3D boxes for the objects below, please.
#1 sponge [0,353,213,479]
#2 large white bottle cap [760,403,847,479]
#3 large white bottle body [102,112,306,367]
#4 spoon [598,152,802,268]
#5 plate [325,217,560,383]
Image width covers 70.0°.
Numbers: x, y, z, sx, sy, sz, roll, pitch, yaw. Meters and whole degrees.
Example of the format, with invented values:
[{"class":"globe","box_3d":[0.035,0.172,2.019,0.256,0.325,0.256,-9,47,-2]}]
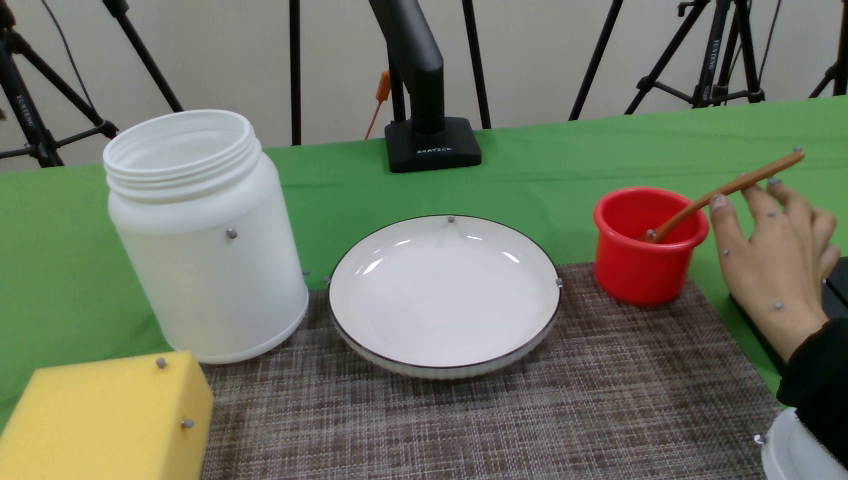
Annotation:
[{"class":"sponge","box_3d":[-0.217,0.173,0.387,0.118,0.061,0.204,-8,37,-3]},{"class":"large white bottle cap","box_3d":[0.291,0.161,0.408,0.115,0.018,0.113,0,37,0]},{"class":"large white bottle body","box_3d":[-0.179,-0.001,0.509,0.130,0.186,0.129,-3,35,3]},{"class":"spoon","box_3d":[0.236,-0.023,0.537,0.022,0.194,0.041,45,40,-5]},{"class":"plate","box_3d":[0.017,0.053,0.550,0.209,0.038,0.207,-1,37,1]}]
